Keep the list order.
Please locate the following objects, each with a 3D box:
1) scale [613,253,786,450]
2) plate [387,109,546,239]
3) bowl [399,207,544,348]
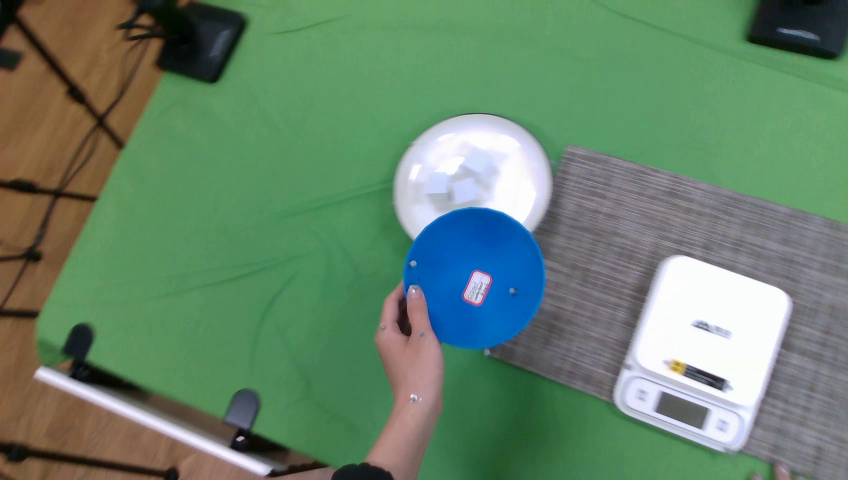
[{"bbox_3d":[0.320,0.125,0.705,0.148,0.032,0.200,20,80,14],"label":"scale"},{"bbox_3d":[0.056,-0.071,0.803,0.207,0.039,0.206,-2,75,9],"label":"plate"},{"bbox_3d":[0.055,0.046,0.661,0.151,0.077,0.150,-2,77,10],"label":"bowl"}]
